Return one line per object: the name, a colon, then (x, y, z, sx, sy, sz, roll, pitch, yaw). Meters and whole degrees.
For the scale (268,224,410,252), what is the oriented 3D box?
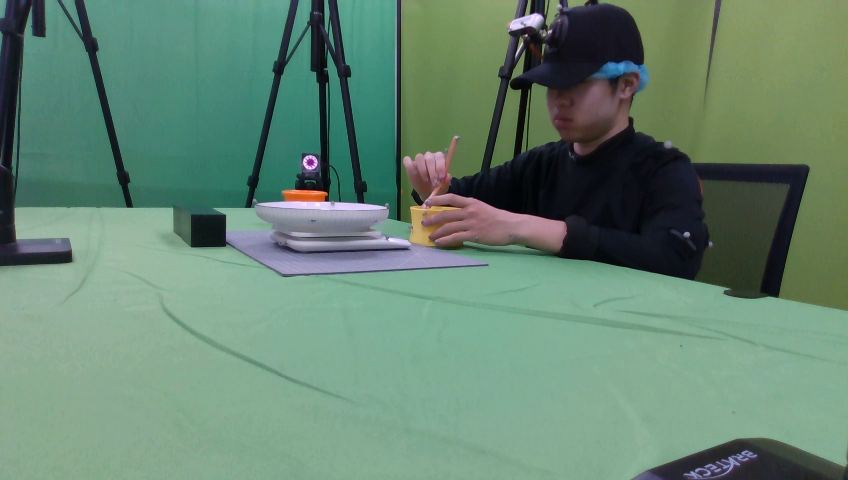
scale: (-0.137, -0.006, 0.979, 0.202, 0.031, 0.148, -1, 8, -30)

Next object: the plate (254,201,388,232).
plate: (-0.161, -0.037, 0.961, 0.209, 0.038, 0.209, 2, 6, 0)

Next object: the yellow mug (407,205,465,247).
yellow mug: (0.026, -0.027, 1.104, 0.099, 0.064, 0.131, 7, 7, 20)

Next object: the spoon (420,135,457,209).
spoon: (0.022, -0.099, 1.093, 0.022, 0.193, 0.041, 26, -6, -19)
